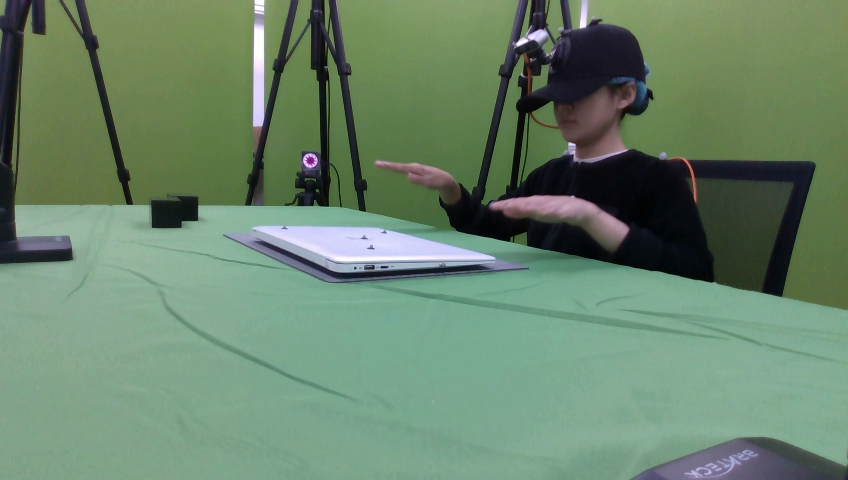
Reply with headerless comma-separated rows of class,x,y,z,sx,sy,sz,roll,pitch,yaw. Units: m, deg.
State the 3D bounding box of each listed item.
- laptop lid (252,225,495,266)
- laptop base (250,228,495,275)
laptop lid,-0.090,0.004,0.883,0.243,0.013,0.355,1,7,-31
laptop base,-0.093,0.015,0.884,0.237,0.023,0.352,3,6,-32
